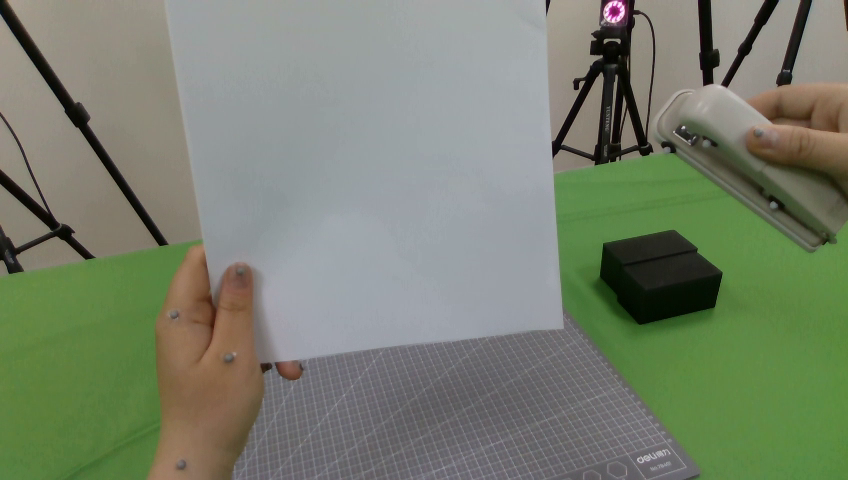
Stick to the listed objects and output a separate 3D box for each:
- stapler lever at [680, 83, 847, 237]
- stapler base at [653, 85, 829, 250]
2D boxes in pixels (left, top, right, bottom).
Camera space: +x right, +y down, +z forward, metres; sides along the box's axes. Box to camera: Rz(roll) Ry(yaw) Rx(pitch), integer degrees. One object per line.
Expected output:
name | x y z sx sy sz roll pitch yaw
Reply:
stapler lever | 0.203 -0.048 0.353 0.117 0.027 0.040 39 8 8
stapler base | 0.206 -0.048 0.377 0.130 0.041 0.024 39 8 7
